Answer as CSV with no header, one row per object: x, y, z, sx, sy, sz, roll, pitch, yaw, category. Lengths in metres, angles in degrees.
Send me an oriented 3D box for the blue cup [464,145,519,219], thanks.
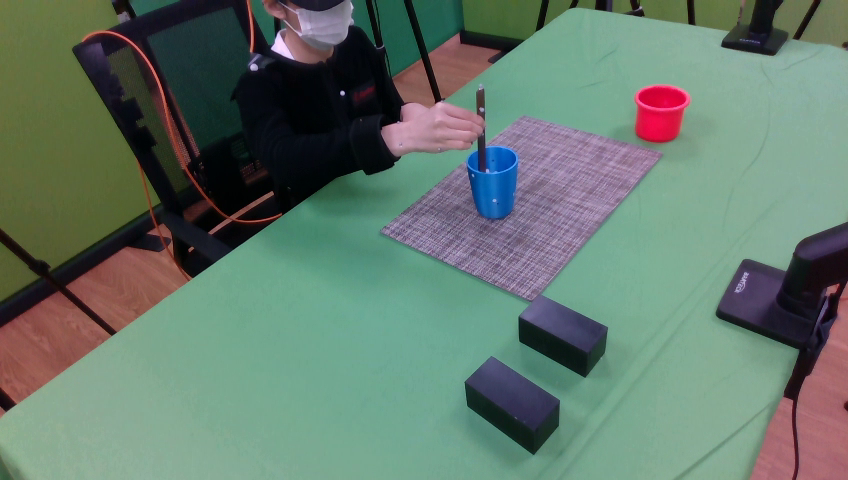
0.116,-0.091,0.998,0.092,0.100,0.092,-5,39,5,blue cup

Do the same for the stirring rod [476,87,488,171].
0.091,-0.161,0.947,0.014,0.177,0.005,-34,51,-22,stirring rod
